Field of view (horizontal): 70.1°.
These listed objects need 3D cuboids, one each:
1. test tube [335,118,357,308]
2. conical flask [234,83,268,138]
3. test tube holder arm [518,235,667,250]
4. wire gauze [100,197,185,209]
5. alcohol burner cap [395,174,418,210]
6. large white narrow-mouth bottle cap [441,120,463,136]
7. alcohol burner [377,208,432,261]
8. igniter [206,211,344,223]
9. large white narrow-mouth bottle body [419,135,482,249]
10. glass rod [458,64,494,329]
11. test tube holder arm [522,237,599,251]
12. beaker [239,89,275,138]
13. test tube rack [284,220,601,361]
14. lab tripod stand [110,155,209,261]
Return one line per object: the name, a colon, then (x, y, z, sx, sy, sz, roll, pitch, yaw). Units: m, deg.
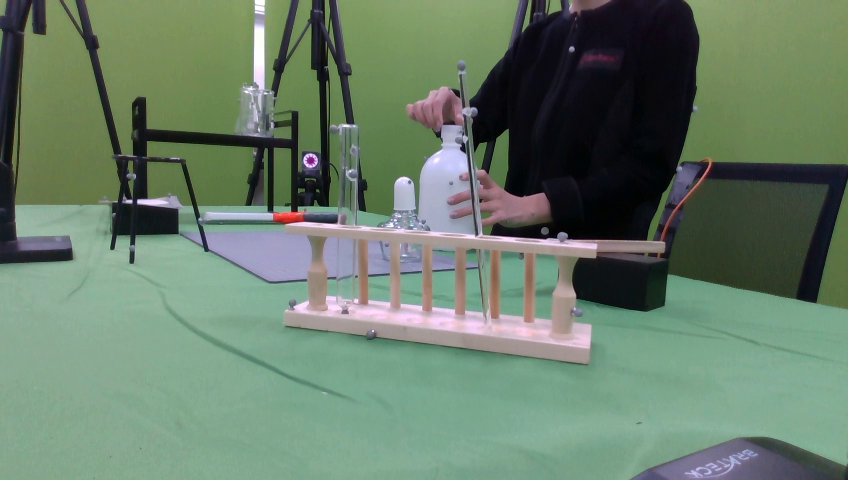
test tube: (-0.061, -0.019, 0.476, 0.017, 0.150, 0.017, 2, 11, 0)
conical flask: (-0.399, -0.298, 1.396, 0.075, 0.122, 0.075, 2, 8, 0)
test tube holder arm: (0.186, 0.003, 0.654, 0.179, 0.015, 0.013, 0, 13, -18)
wire gauze: (-0.469, -0.062, 1.008, 0.126, 0.011, 0.121, -2, 8, -25)
alcohol burner cap: (-0.026, -0.067, 0.833, 0.034, 0.048, 0.034, -1, 12, 1)
large white narrow-mouth bottle cap: (0.046, -0.181, 0.982, 0.038, 0.024, 0.037, 2, 8, 0)
alcohol burner: (-0.027, -0.031, 0.838, 0.078, 0.119, 0.078, 0, 6, 0)
igniter: (-0.302, -0.048, 1.249, 0.278, 0.025, 0.057, -2, -2, -27)
large white narrow-mouth bottle body: (0.044, -0.086, 0.995, 0.102, 0.194, 0.102, 2, 8, 0)
glass rod: (0.039, -0.029, 0.449, 0.008, 0.199, 0.008, -7, 9, 1)
test tube holder arm: (0.144, 0.004, 0.635, 0.088, 0.015, 0.010, 0, 13, -19)
beaker: (-0.361, -0.273, 1.308, 0.074, 0.100, 0.084, 0, 8, -11)
test tube rack: (0.013, 0.032, 0.482, 0.242, 0.085, 0.067, 4, 7, 16)
lab tripod stand: (-0.361, -0.046, 0.806, 0.148, 0.131, 0.148, 2, 5, 0)
